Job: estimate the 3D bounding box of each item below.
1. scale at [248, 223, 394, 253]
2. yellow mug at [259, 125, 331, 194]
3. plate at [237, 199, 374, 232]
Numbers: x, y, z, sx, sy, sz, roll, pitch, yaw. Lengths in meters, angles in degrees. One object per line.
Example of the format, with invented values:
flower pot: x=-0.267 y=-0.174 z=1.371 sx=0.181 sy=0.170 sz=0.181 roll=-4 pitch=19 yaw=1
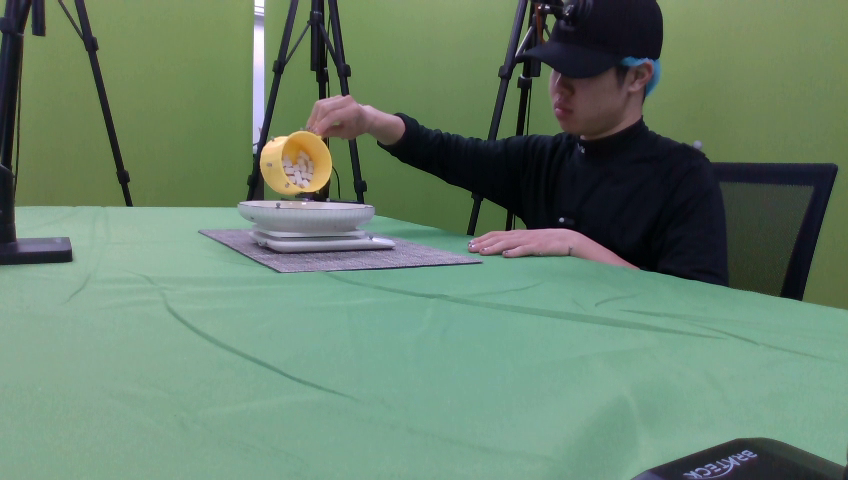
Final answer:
scale: x=-0.162 y=-0.006 z=0.954 sx=0.202 sy=0.031 sz=0.148 roll=-2 pitch=8 yaw=-32
yellow mug: x=-0.209 y=-0.142 z=1.019 sx=0.063 sy=0.131 sz=0.100 roll=0 pitch=-31 yaw=45
plate: x=-0.183 y=-0.039 z=0.941 sx=0.209 sy=0.038 sz=0.209 roll=3 pitch=7 yaw=0
